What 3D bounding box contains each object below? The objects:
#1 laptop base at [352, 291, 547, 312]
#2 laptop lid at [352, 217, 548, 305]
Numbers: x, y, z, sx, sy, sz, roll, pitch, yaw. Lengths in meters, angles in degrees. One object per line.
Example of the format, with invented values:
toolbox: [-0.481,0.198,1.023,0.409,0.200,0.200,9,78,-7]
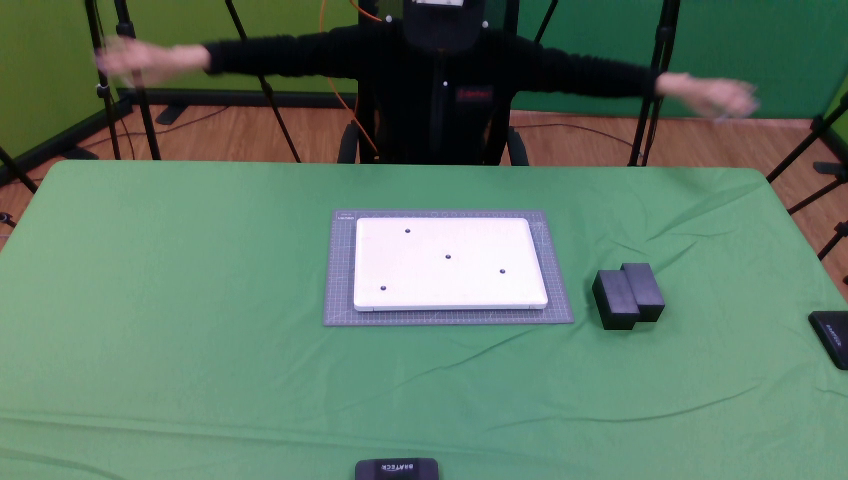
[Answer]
laptop base: [0.043,0.044,1.162,0.355,0.023,0.234,0,43,-5]
laptop lid: [0.044,0.034,1.155,0.357,0.013,0.240,1,44,-3]
